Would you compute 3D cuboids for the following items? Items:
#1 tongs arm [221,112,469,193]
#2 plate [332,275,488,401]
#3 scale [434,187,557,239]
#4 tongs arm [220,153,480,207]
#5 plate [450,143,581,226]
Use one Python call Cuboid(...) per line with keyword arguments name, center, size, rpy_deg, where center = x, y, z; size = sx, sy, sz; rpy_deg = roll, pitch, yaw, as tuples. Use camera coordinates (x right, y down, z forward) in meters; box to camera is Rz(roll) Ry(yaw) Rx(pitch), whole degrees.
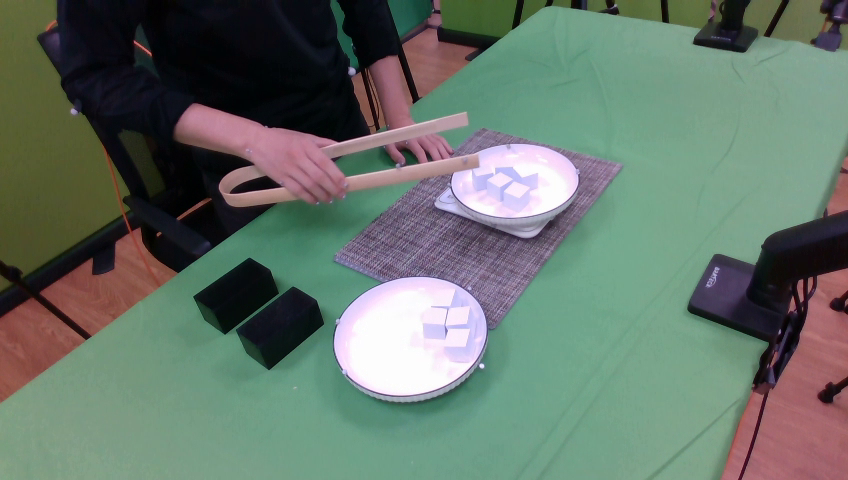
Cuboid(name="tongs arm", center=(-0.118, -0.136, 0.927), size=(0.388, 0.028, 0.028), rpy_deg=(-15, 51, -2))
Cuboid(name="plate", center=(-0.017, 0.131, 0.808), size=(0.207, 0.039, 0.206), rpy_deg=(-4, 41, 4))
Cuboid(name="scale", center=(0.132, -0.075, 1.025), size=(0.199, 0.032, 0.149), rpy_deg=(22, 48, 30))
Cuboid(name="tongs arm", center=(-0.112, -0.094, 0.886), size=(0.385, 0.027, 0.050), rpy_deg=(-11, 47, 3))
Cuboid(name="plate", center=(0.148, -0.087, 0.986), size=(0.209, 0.038, 0.208), rpy_deg=(-4, 41, 4))
